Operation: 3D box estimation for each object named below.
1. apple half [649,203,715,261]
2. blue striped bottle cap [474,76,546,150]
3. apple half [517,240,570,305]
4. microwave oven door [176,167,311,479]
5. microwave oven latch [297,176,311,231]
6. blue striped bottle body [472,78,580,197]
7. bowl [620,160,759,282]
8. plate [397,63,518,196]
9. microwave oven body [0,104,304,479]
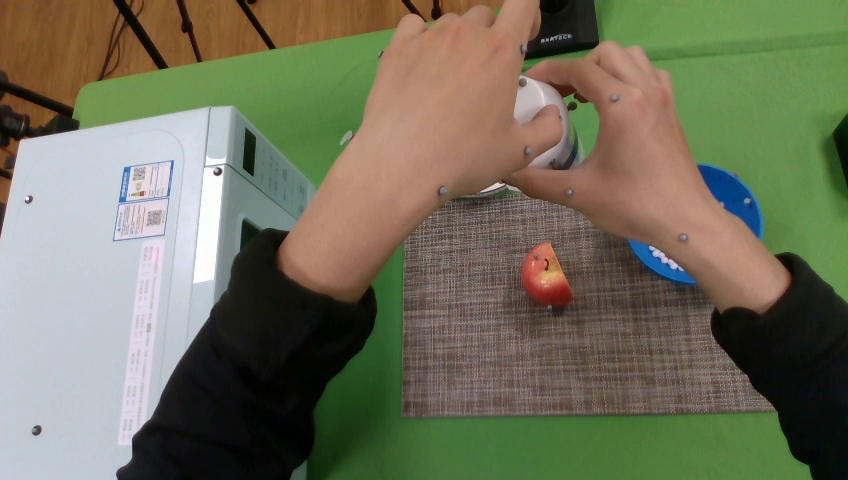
[{"bbox_3d":[0.316,-0.014,0.738,0.081,0.033,0.081,-4,70,13],"label":"apple half"},{"bbox_3d":[0.055,-0.081,0.389,0.044,0.021,0.044,-3,82,22],"label":"blue striped bottle cap"},{"bbox_3d":[0.147,0.047,0.769,0.053,0.075,0.080,-24,72,9],"label":"apple half"},{"bbox_3d":[-0.203,0.121,0.727,0.039,0.246,0.353,-7,71,13],"label":"microwave oven door"},{"bbox_3d":[-0.183,-0.053,0.890,0.030,0.030,0.078,-8,71,11],"label":"microwave oven latch"},{"bbox_3d":[0.074,-0.074,0.438,0.063,0.121,0.063,-3,80,21],"label":"blue striped bottle body"},{"bbox_3d":[0.316,-0.013,0.743,0.151,0.077,0.150,-5,71,14],"label":"bowl"},{"bbox_3d":[0.065,-0.157,0.881,0.207,0.039,0.206,-4,72,13],"label":"plate"},{"bbox_3d":[-0.345,0.099,0.776,0.325,0.262,0.438,-6,71,12],"label":"microwave oven body"}]
